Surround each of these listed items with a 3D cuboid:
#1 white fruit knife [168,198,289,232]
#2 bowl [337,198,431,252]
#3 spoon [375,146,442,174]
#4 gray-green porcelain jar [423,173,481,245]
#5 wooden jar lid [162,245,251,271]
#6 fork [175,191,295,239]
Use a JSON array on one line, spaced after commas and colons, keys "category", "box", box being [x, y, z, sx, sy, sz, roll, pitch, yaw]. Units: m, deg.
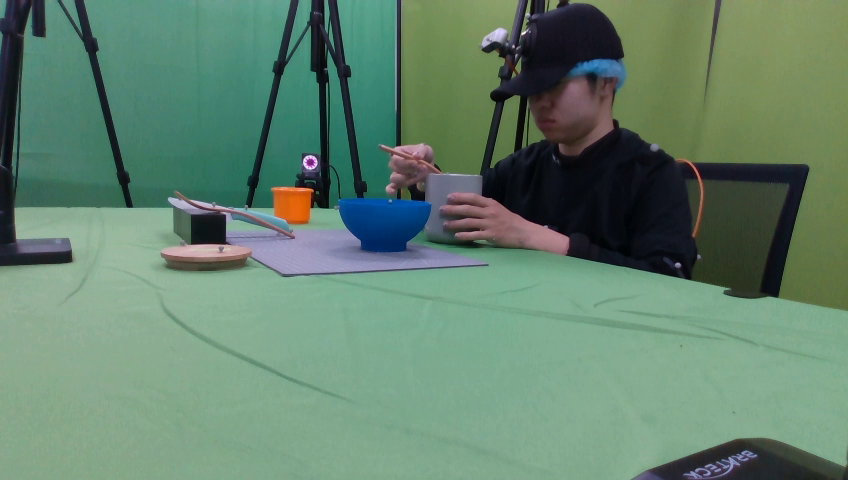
[{"category": "white fruit knife", "box": [-0.329, -0.044, 1.036, 0.208, 0.027, 0.016, 14, -1, -32]}, {"category": "bowl", "box": [-0.066, -0.024, 0.967, 0.151, 0.077, 0.151, 3, 7, 0]}, {"category": "spoon", "box": [0.002, -0.133, 1.101, 0.194, 0.021, 0.041, 25, 10, -7]}, {"category": "gray-green porcelain jar", "box": [0.051, -0.058, 1.115, 0.106, 0.126, 0.106, 2, 8, 0]}, {"category": "wooden jar lid", "box": [-0.278, 0.022, 0.777, 0.108, 0.020, 0.108, 2, 6, 0]}, {"category": "fork", "box": [-0.305, -0.039, 0.993, 0.208, 0.018, 0.028, 19, -9, -34]}]
